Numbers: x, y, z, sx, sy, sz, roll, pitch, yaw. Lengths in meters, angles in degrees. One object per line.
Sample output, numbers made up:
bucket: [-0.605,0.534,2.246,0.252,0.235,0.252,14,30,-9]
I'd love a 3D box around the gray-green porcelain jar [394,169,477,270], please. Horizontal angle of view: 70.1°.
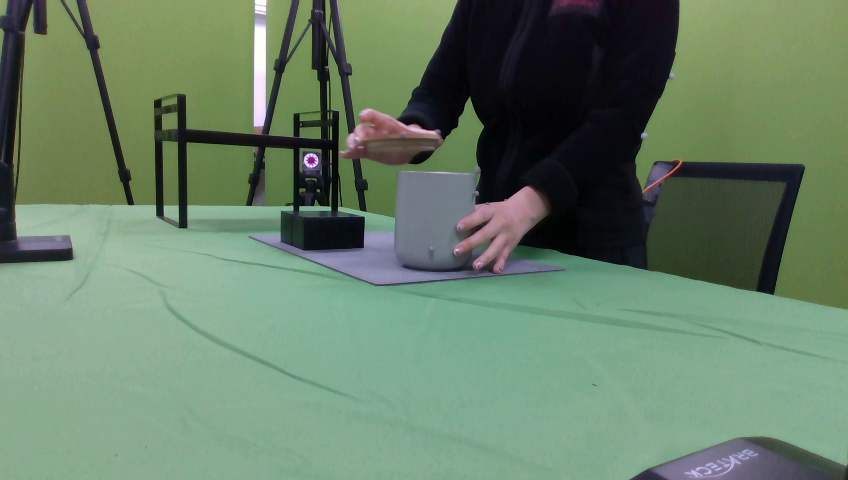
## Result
gray-green porcelain jar: [0.014,-0.029,0.793,0.106,0.126,0.106,2,7,0]

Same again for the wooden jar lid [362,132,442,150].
wooden jar lid: [-0.029,-0.133,0.818,0.108,0.020,0.108,0,7,0]
